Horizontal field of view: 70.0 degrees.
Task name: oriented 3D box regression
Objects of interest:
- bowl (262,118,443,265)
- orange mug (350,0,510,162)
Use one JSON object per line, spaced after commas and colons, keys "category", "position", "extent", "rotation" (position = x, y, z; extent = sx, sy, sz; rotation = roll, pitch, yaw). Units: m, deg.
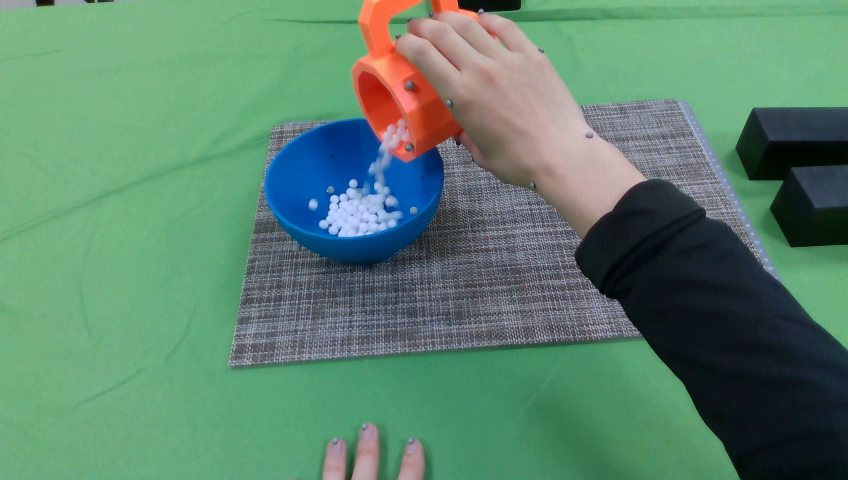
{"category": "bowl", "position": [-0.057, -0.031, 0.531], "extent": [0.151, 0.077, 0.150], "rotation": [-2, 48, 2]}
{"category": "orange mug", "position": [-0.001, -0.135, 0.474], "extent": [0.101, 0.127, 0.082], "rotation": [-36, 40, -16]}
